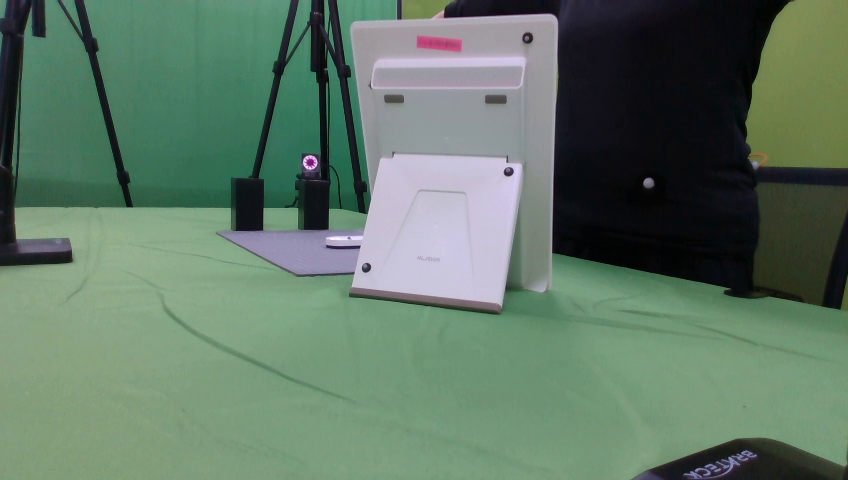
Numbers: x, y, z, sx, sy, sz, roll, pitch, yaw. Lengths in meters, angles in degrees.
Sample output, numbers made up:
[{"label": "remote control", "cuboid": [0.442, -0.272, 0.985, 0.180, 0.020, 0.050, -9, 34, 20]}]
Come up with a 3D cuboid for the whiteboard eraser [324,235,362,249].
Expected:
[{"label": "whiteboard eraser", "cuboid": [-0.112, 0.002, 0.974, 0.102, 0.019, 0.041, -1, 8, -32]}]

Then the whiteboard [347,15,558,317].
[{"label": "whiteboard", "cuboid": [0.012, -0.056, 0.609, 0.216, 0.305, 0.144, 5, 27, 19]}]
